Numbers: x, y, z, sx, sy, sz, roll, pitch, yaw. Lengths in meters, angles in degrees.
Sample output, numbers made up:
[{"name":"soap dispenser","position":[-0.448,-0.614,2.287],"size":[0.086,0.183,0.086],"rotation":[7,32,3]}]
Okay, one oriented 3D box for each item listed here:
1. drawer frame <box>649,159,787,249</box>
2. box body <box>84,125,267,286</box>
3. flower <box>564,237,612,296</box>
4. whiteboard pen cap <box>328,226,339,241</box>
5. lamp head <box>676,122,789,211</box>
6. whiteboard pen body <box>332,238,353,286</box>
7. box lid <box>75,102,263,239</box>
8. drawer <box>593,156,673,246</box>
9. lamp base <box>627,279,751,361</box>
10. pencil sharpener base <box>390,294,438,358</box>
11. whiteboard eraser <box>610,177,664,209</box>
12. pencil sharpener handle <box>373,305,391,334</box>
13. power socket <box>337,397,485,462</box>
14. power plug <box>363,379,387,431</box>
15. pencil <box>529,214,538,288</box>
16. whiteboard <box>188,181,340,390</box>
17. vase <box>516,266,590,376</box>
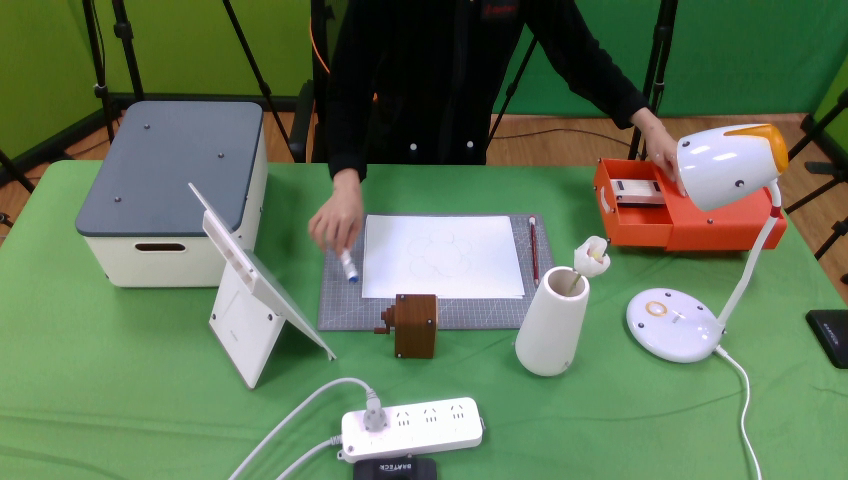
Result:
[{"name":"drawer frame","position":[0.566,-0.075,1.209],"size":[0.213,0.083,0.200],"rotation":[0,45,2]},{"name":"box body","position":[-0.446,-0.088,1.150],"size":[0.254,0.161,0.361],"rotation":[-1,46,-5]},{"name":"flower","position":[0.206,0.088,0.893],"size":[0.038,0.363,0.044],"rotation":[-17,67,-9]},{"name":"whiteboard pen cap","position":[-0.171,-0.010,1.155],"size":[0.018,0.018,0.033],"rotation":[-11,48,-15]},{"name":"lamp head","position":[0.423,-0.104,0.819],"size":[0.122,0.113,0.112],"rotation":[-13,33,40]},{"name":"whiteboard pen body","position":[-0.153,0.031,1.116],"size":[0.017,0.017,0.140],"rotation":[-11,47,-15]},{"name":"box lid","position":[-0.443,-0.138,1.094],"size":[0.263,0.015,0.369],"rotation":[-1,47,-5]},{"name":"drawer","position":[0.459,-0.077,1.207],"size":[0.212,0.073,0.193],"rotation":[3,46,-2]},{"name":"lamp base","position":[0.459,0.100,1.027],"size":[0.178,0.181,0.160],"rotation":[27,51,17]},{"name":"pencil sharpener base","position":[-0.018,0.143,1.000],"size":[0.077,0.107,0.061],"rotation":[1,46,-2]},{"name":"whiteboard eraser","position":[0.433,-0.094,1.240],"size":[0.113,0.042,0.055],"rotation":[8,51,-6]},{"name":"pencil sharpener handle","position":[-0.069,0.133,0.989],"size":[0.030,0.068,0.036],"rotation":[1,47,-2]},{"name":"power socket","position":[-0.018,0.285,0.915],"size":[0.227,0.033,0.071],"rotation":[-5,46,-8]},{"name":"power plug","position":[-0.072,0.252,0.910],"size":[0.035,0.053,0.072],"rotation":[3,45,-1]},{"name":"pencil","position":[0.218,0.019,1.202],"size":[0.012,0.012,0.193],"rotation":[5,48,1]},{"name":"whiteboard","position":[-0.292,0.096,0.929],"size":[0.144,0.307,0.216],"rotation":[-38,57,-10]},{"name":"vase","position":[0.208,0.132,0.965],"size":[0.098,0.201,0.097],"rotation":[3,46,-3]}]
